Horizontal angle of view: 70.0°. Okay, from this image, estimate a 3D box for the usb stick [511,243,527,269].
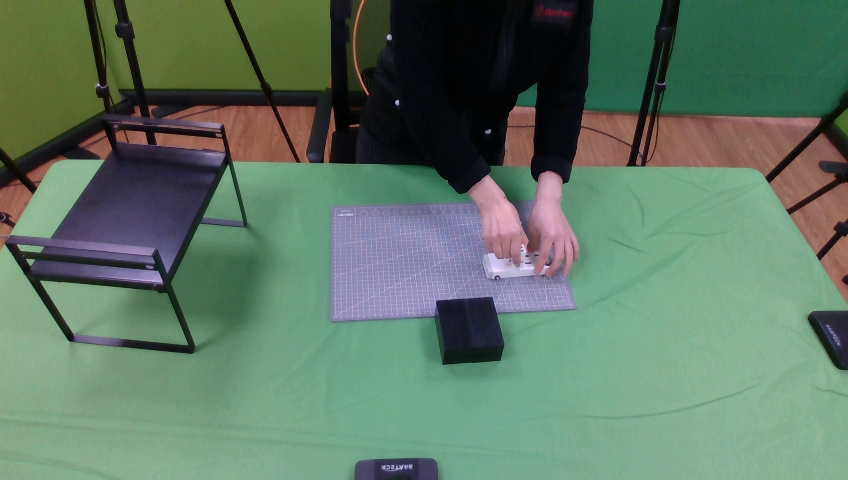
[{"bbox_3d":[0.175,0.034,1.126,0.021,0.059,0.027,-6,48,-5],"label":"usb stick"}]

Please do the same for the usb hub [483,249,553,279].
[{"bbox_3d":[0.179,0.046,1.159,0.125,0.025,0.049,-4,48,-8],"label":"usb hub"}]
